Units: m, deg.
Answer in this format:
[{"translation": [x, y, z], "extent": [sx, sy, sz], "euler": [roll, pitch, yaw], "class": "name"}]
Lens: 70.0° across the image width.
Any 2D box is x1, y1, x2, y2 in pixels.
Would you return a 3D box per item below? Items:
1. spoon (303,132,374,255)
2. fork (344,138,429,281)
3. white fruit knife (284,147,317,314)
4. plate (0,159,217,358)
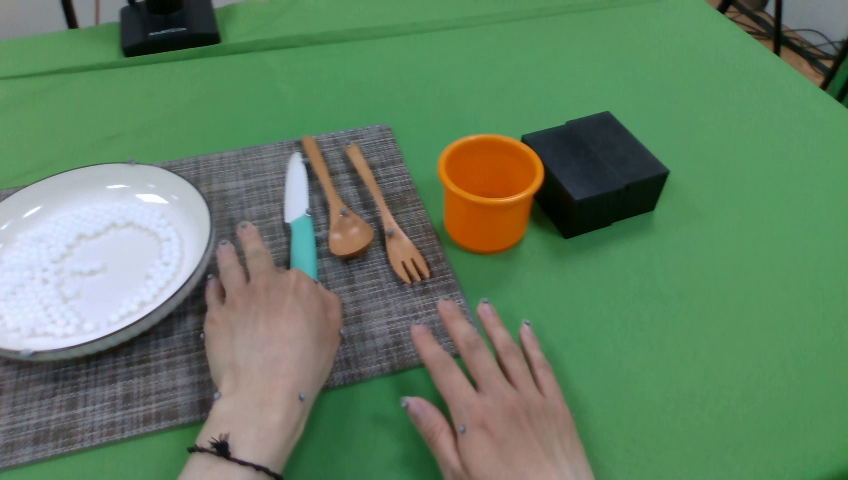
[{"translation": [-0.090, -0.052, 0.583], "extent": [0.041, 0.022, 0.191], "euler": [-26, 52, -1], "class": "spoon"}, {"translation": [-0.042, -0.036, 0.572], "extent": [0.028, 0.019, 0.205], "euler": [-20, 53, -10], "class": "fork"}, {"translation": [-0.114, -0.019, 0.556], "extent": [0.027, 0.016, 0.205], "euler": [-7, 50, -6], "class": "white fruit knife"}, {"translation": [-0.278, 0.012, 0.511], "extent": [0.209, 0.038, 0.207], "euler": [1, 48, 0], "class": "plate"}]
